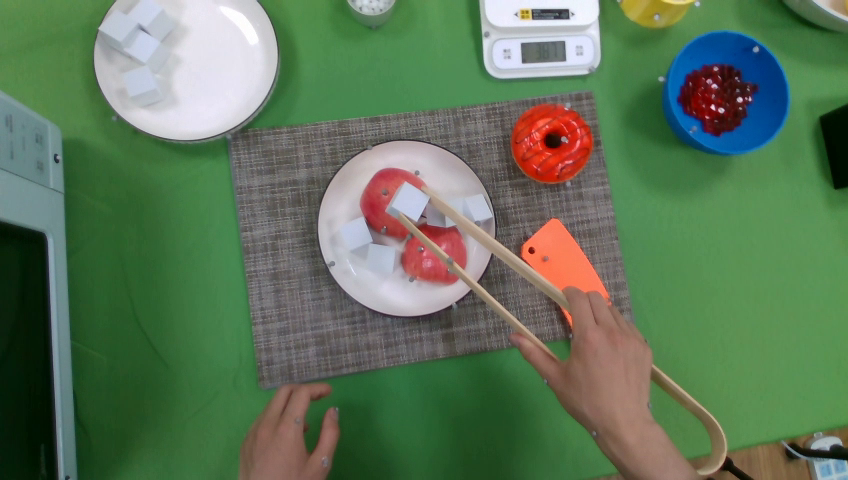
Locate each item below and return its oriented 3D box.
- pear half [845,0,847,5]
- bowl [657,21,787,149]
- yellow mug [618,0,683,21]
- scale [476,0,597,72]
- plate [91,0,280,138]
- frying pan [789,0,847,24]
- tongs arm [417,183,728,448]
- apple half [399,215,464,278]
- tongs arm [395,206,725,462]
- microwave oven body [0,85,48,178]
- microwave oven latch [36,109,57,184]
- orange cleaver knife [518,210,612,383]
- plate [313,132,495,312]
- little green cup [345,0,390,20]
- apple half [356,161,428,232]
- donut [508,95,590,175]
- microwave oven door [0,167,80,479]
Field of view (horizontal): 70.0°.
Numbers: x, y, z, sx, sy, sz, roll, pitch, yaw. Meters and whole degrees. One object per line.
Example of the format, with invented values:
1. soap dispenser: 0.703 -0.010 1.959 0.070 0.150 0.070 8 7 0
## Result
1. pear half: 0.578 -0.323 0.754 0.076 0.110 0.056 28 83 2
2. bowl: 0.347 -0.177 0.739 0.151 0.077 0.151 1 85 -5
3. yellow mug: 0.284 -0.348 0.756 0.100 0.064 0.131 -41 88 -7
4. scale: 0.138 -0.313 0.757 0.149 0.031 0.200 -4 85 -5
5. plate: -0.272 -0.217 0.708 0.208 0.039 0.207 1 84 -5
6. frying pan: 0.615 -0.330 0.765 0.307 0.103 0.486 -35 80 -7
7. tongs arm: 0.140 0.067 0.604 0.386 0.028 0.028 39 67 8
8. apple half: 0.009 0.006 0.700 0.081 0.033 0.081 0 87 -2
9. tongs arm: 0.124 0.084 0.596 0.383 0.026 0.050 43 72 10
10. microwave oven body: -0.541 0.077 0.538 0.326 0.260 0.440 -6 85 -6
11. microwave oven latch: -0.421 -0.102 0.663 0.030 0.029 0.079 -3 85 -6
12. orange cleaver knife: 0.185 0.066 0.726 0.077 0.012 0.211 -26 87 -11
13. plate: -0.023 -0.021 0.706 0.209 0.038 0.208 1 84 -5
14. little green cup: -0.069 -0.300 0.734 0.061 0.038 0.061 1 84 -5
15. apple half: -0.036 -0.055 0.693 0.074 0.053 0.080 36 82 2
16. donut: 0.149 -0.126 0.729 0.099 0.048 0.099 0 85 -3
17. microwave oven door: -0.391 0.104 0.543 0.039 0.244 0.355 -6 84 -5
